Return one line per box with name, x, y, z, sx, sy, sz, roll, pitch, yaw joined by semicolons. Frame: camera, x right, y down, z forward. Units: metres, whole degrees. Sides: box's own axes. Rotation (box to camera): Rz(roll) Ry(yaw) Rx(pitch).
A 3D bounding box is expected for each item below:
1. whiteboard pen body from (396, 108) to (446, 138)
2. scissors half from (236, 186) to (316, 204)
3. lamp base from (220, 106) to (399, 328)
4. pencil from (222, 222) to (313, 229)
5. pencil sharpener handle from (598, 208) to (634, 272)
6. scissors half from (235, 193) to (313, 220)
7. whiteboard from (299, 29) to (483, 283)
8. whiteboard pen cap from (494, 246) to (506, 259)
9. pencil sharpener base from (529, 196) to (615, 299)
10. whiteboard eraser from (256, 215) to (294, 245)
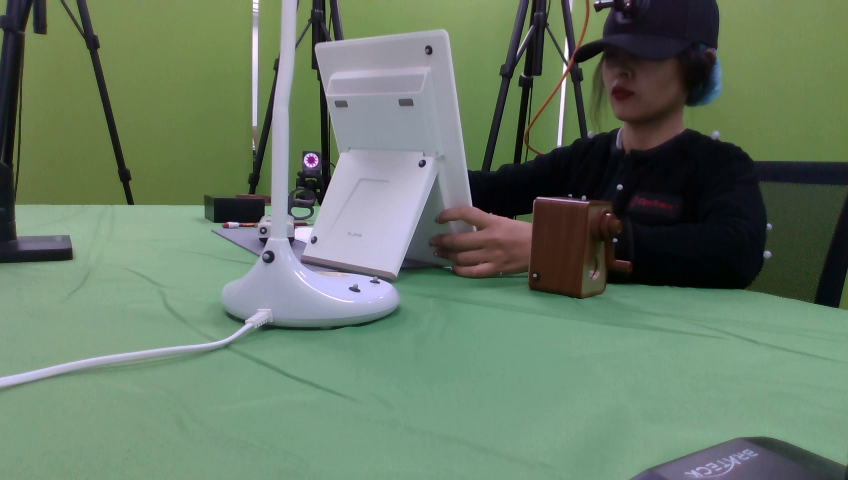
whiteboard pen body;-0.003;-0.160;0.819;0.017;0.017;0.141;6;-1;26
scissors half;-0.320;-0.097;1.316;0.176;0.040;0.013;-4;13;-29
lamp base;-0.101;-0.023;0.531;0.160;0.180;0.179;4;10;10
pencil;-0.302;-0.030;1.189;0.195;0.012;0.012;-2;9;-42
pencil sharpener handle;0.208;0.000;0.644;0.030;0.068;0.036;10;23;42
scissors half;-0.325;-0.077;1.319;0.176;0.040;0.012;17;8;-32
whiteboard;-0.074;-0.082;0.741;0.216;0.305;0.144;9;30;38
whiteboard pen cap;0.117;0.019;0.932;0.018;0.018;0.033;3;6;5
pencil sharpener base;0.168;0.007;0.678;0.076;0.107;0.062;10;10;42
whiteboard eraser;-0.232;-0.016;0.951;0.056;0.042;0.112;2;7;-12
